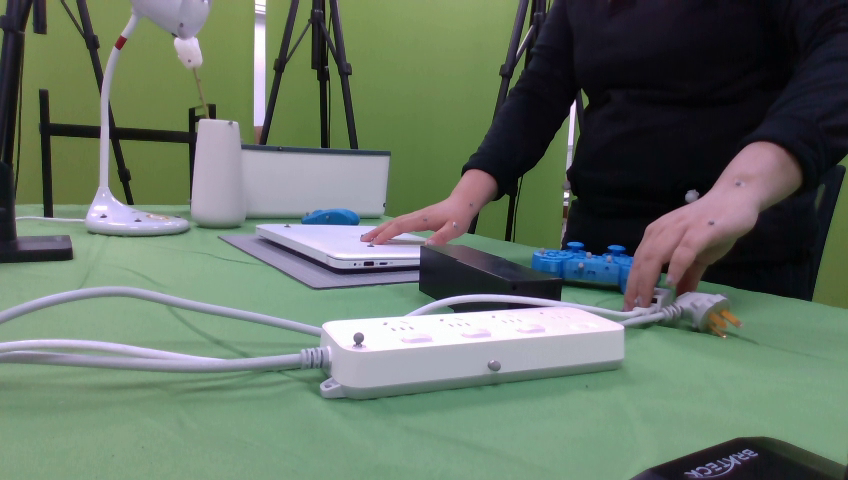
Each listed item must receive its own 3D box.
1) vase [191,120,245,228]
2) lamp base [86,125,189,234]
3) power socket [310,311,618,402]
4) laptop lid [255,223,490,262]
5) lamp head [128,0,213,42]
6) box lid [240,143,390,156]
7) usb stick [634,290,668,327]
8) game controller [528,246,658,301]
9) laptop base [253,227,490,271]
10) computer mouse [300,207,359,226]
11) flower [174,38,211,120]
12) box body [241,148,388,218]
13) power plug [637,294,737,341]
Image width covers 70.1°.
[{"bbox_3d":[-0.389,-0.124,1.142,0.098,0.200,0.098,3,9,0],"label":"vase"},{"bbox_3d":[-0.497,-0.105,1.027,0.179,0.180,0.160,1,7,2],"label":"lamp base"},{"bbox_3d":[0.034,0.074,0.415,0.228,0.032,0.072,-1,7,-24],"label":"power socket"},{"bbox_3d":[-0.093,0.000,0.911,0.243,0.013,0.355,1,7,-30],"label":"laptop lid"},{"bbox_3d":[-0.423,-0.394,0.980,0.123,0.112,0.112,20,7,-3],"label":"lamp head"},{"bbox_3d":[-0.295,-0.217,1.463,0.373,0.015,0.262,-1,8,-30],"label":"box lid"},{"bbox_3d":[0.224,0.065,0.591,0.021,0.027,0.059,6,8,32],"label":"usb stick"},{"bbox_3d":[0.202,0.037,0.732,0.155,0.051,0.097,5,10,19],"label":"game controller"},{"bbox_3d":[-0.096,0.012,0.911,0.237,0.023,0.352,2,6,-32],"label":"laptop base"},{"bbox_3d":[-0.194,-0.046,1.241,0.117,0.041,0.063,0,10,11],"label":"computer mouse"},{"bbox_3d":[-0.401,-0.207,1.141,0.038,0.361,0.044,-14,3,44],"label":"flower"},{"bbox_3d":[-0.297,-0.143,1.474,0.366,0.160,0.253,-1,9,-30],"label":"box body"},{"bbox_3d":[0.235,0.077,0.535,0.072,0.035,0.052,-34,40,-4],"label":"power plug"}]
